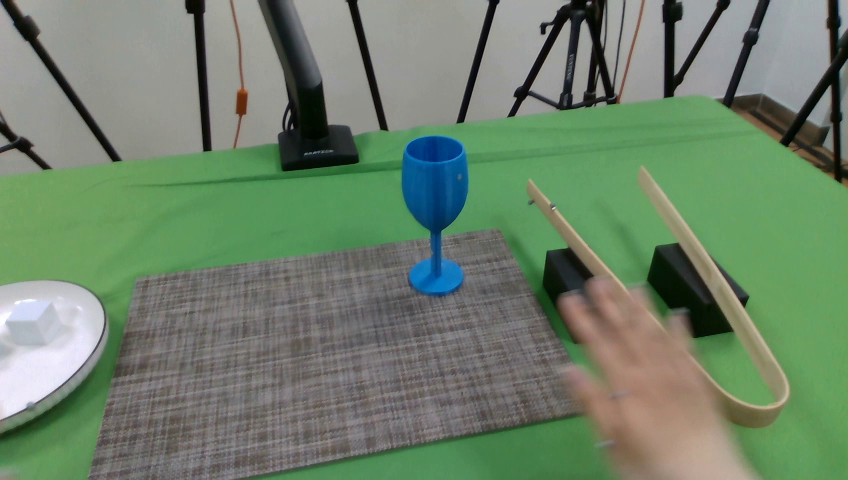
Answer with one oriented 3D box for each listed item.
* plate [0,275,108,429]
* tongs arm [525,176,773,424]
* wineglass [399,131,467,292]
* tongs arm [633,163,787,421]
[{"bbox_3d":[-0.422,0.114,0.600,0.209,0.038,0.207,0,37,1],"label":"plate"},{"bbox_3d":[0.204,0.034,0.630,0.051,0.027,0.380,-9,38,-13],"label":"tongs arm"},{"bbox_3d":[0.010,-0.028,0.665,0.074,0.174,0.073,0,37,1],"label":"wineglass"},{"bbox_3d":[0.284,0.024,0.642,0.028,0.028,0.383,2,37,-5],"label":"tongs arm"}]
